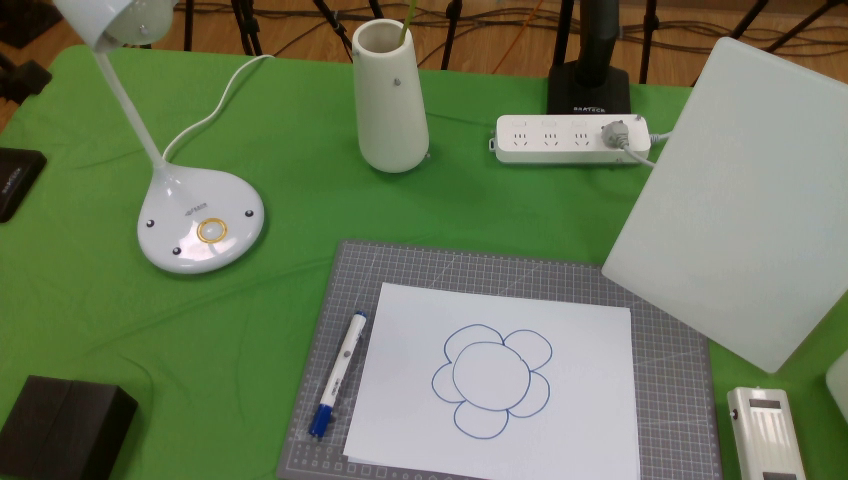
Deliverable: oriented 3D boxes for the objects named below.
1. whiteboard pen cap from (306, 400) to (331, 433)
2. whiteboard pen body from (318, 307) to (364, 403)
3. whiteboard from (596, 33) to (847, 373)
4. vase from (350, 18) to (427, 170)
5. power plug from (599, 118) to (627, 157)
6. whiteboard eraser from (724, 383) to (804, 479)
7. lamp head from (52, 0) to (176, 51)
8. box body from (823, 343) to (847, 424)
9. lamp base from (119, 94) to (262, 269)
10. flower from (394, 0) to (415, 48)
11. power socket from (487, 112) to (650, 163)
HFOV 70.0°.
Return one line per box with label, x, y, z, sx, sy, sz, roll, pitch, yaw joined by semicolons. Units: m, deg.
whiteboard pen cap;-0.111;0.188;0.645;0.018;0.018;0.033;13;60;11
whiteboard pen body;-0.095;0.139;0.674;0.017;0.017;0.140;13;60;11
whiteboard;0.366;-0.049;0.656;0.215;0.307;0.144;34;43;22
vase;-0.049;-0.183;0.784;0.098;0.202;0.097;-1;56;2
power plug;0.252;-0.131;0.814;0.035;0.053;0.072;10;64;8
whiteboard eraser;0.341;0.202;0.611;0.055;0.042;0.111;4;56;3
lamp head;-0.266;-0.232;0.486;0.123;0.112;0.112;47;63;-15
box body;0.571;0.216;0.522;0.254;0.162;0.360;-10;57;-5
lamp base;-0.305;-0.080;0.734;0.177;0.182;0.160;35;64;26
flower;-0.033;-0.219;0.710;0.044;0.363;0.038;-30;77;-27
power socket;0.203;-0.145;0.851;0.227;0.033;0.071;1;57;2
